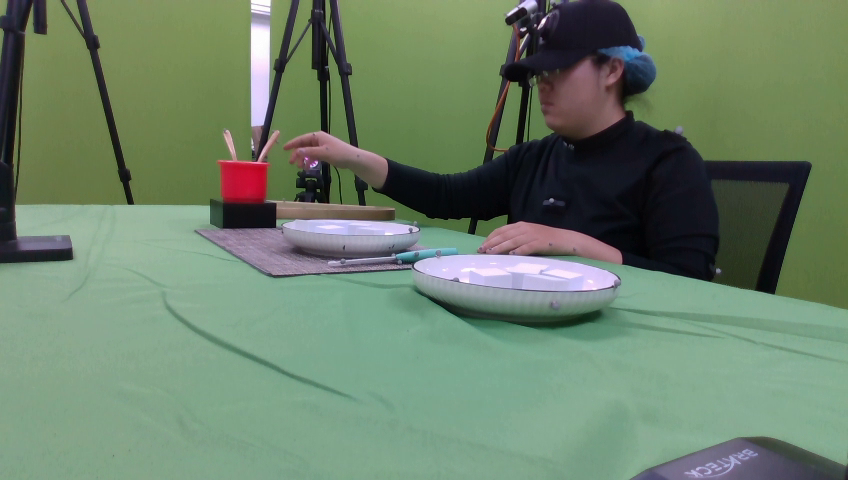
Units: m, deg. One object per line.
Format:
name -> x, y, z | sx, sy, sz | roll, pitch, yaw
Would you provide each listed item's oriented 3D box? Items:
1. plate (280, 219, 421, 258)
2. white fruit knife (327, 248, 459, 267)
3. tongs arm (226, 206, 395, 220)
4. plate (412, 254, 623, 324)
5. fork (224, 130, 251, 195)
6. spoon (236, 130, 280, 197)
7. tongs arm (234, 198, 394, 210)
plate -> -0.108, -0.002, 0.902 | 0.208, 0.039, 0.207 | 3, 7, 0
white fruit knife -> -0.034, 0.026, 0.807 | 0.208, 0.016, 0.027 | -4, -18, -34
tongs arm -> -0.247, -0.061, 1.382 | 0.389, 0.028, 0.028 | 0, 5, -21
plate -> 0.091, 0.047, 0.609 | 0.209, 0.038, 0.209 | 2, 7, 0
fork -> -0.372, -0.155, 1.193 | 0.028, 0.018, 0.206 | -17, 54, -13
spoon -> -0.321, -0.154, 1.192 | 0.041, 0.193, 0.022 | 0, -37, 19
tongs arm -> -0.263, -0.076, 1.460 | 0.386, 0.026, 0.050 | 3, 8, -8
